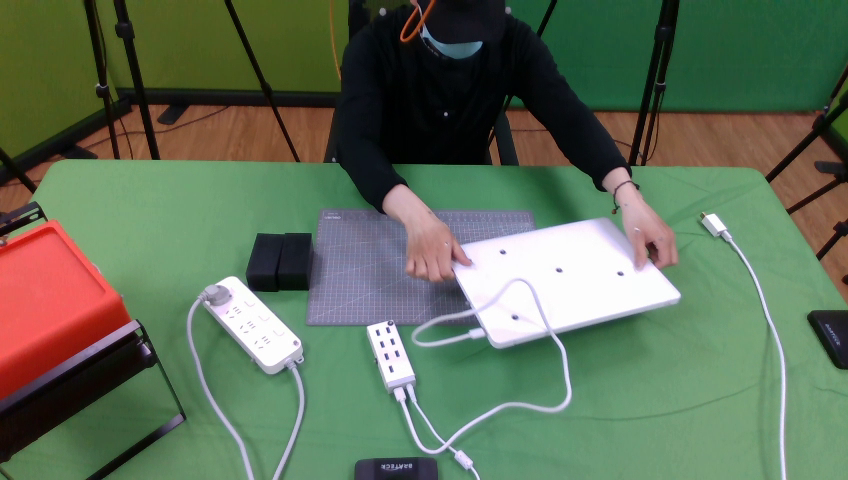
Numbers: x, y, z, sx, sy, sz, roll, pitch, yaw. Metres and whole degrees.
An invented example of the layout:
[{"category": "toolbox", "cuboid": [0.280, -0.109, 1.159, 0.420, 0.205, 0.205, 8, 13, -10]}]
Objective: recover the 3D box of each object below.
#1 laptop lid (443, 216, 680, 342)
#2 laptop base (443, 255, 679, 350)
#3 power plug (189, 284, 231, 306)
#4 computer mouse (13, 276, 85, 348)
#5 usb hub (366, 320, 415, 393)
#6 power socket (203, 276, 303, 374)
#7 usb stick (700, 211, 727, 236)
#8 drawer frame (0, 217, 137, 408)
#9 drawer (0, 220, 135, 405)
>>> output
[{"category": "laptop lid", "cuboid": [0.234, 0.055, 1.055, 0.357, 0.013, 0.240, -10, 42, -16]}, {"category": "laptop base", "cuboid": [0.234, 0.065, 1.061, 0.355, 0.023, 0.234, -11, 41, -17]}, {"category": "power plug", "cuboid": [-0.368, 0.099, 1.037, 0.072, 0.053, 0.035, -23, 53, -27]}, {"category": "computer mouse", "cuboid": [-0.496, 0.090, 0.804, 0.063, 0.041, 0.116, -7, 42, -7]}, {"category": "usb hub", "cuboid": [-0.056, 0.192, 1.009, 0.049, 0.025, 0.124, -12, 49, -16]}, {"category": "power socket", "cuboid": [-0.296, 0.141, 1.034, 0.072, 0.033, 0.225, -35, 58, -30]}, {"category": "usb stick", "cuboid": [0.606, -0.038, 1.273, 0.027, 0.021, 0.059, -18, 56, -20]}, {"category": "drawer frame", "cuboid": [-0.523, 0.094, 0.779, 0.200, 0.083, 0.213, 37, 55, 26]}, {"category": "drawer", "cuboid": [-0.522, 0.093, 0.782, 0.193, 0.073, 0.211, 37, 55, 27]}]
